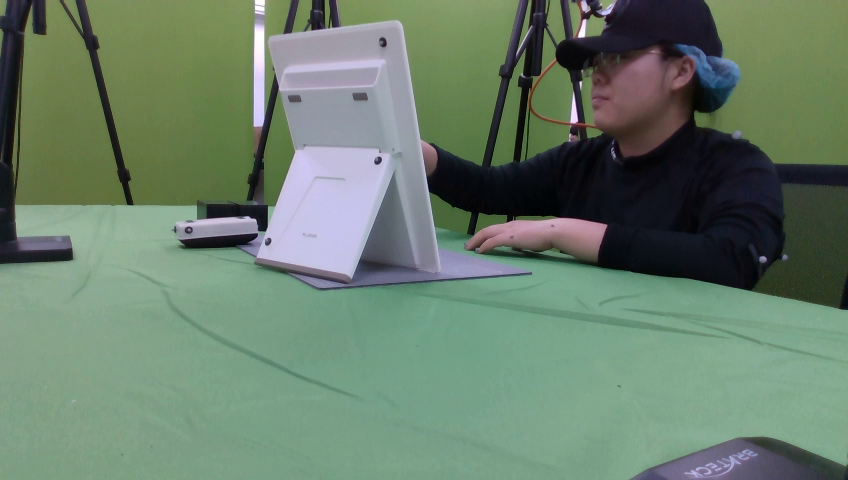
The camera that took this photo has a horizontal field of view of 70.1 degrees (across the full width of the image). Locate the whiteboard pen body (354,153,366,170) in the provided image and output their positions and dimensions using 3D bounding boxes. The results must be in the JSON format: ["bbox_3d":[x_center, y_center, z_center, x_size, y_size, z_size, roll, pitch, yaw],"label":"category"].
[{"bbox_3d":[-0.111,-0.136,1.044,0.017,0.017,0.140,2,0,-4],"label":"whiteboard pen body"}]

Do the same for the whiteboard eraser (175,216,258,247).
[{"bbox_3d":[-0.313,-0.012,0.915,0.113,0.042,0.055,-5,12,-30],"label":"whiteboard eraser"}]

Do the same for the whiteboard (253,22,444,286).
[{"bbox_3d":[-0.125,-0.081,0.715,0.216,0.305,0.144,9,29,36],"label":"whiteboard"}]

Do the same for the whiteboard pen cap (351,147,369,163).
[{"bbox_3d":[-0.105,-0.138,0.982,0.018,0.018,0.033,-3,30,-38],"label":"whiteboard pen cap"}]
